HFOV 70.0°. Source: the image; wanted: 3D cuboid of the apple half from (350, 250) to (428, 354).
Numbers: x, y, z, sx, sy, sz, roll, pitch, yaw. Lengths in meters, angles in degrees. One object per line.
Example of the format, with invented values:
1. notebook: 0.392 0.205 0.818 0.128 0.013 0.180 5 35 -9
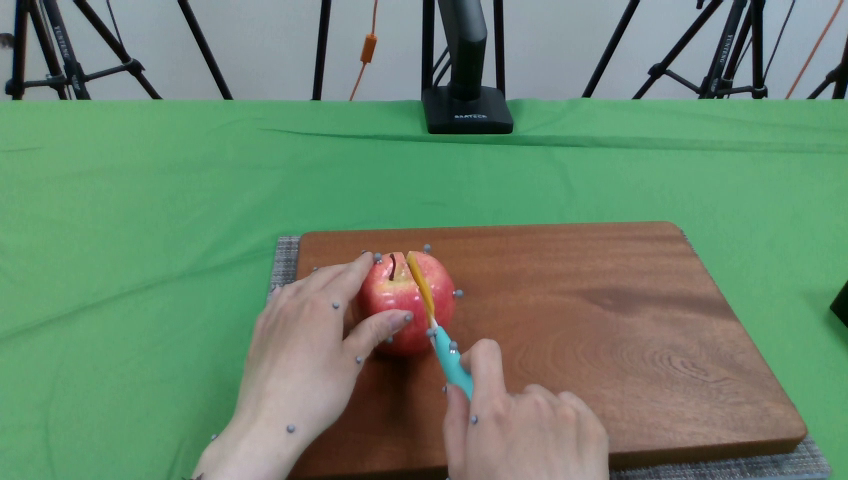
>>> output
1. apple half: -0.032 0.054 0.489 0.053 0.075 0.080 -16 46 -11

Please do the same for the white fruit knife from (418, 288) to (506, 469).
1. white fruit knife: 0.011 0.076 0.452 0.016 0.027 0.205 -5 37 -22

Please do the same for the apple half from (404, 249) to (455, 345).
1. apple half: 0.008 0.046 0.501 0.033 0.082 0.080 -11 43 -17
